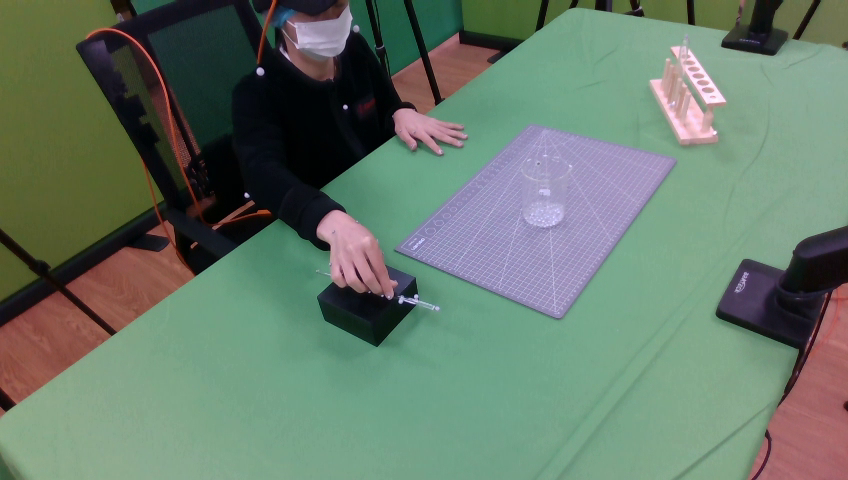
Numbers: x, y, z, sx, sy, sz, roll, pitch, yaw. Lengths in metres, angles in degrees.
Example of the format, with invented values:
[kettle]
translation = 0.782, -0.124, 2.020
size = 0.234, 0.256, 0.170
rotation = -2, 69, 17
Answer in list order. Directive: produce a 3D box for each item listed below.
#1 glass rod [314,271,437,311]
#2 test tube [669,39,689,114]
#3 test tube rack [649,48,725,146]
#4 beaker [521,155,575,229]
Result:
[glass rod]
translation = -0.072, 0.069, 0.836
size = 0.198, 0.008, 0.008
rotation = 14, 44, 24
[test tube]
translation = 0.482, -0.308, 1.146
size = 0.017, 0.151, 0.017
rotation = -5, 42, 5
[test tube rack]
translation = 0.508, -0.285, 1.186
size = 0.067, 0.085, 0.241
rotation = -4, 40, 6
[beaker]
translation = 0.197, -0.075, 0.969
size = 0.084, 0.101, 0.073
rotation = -6, 40, 2
